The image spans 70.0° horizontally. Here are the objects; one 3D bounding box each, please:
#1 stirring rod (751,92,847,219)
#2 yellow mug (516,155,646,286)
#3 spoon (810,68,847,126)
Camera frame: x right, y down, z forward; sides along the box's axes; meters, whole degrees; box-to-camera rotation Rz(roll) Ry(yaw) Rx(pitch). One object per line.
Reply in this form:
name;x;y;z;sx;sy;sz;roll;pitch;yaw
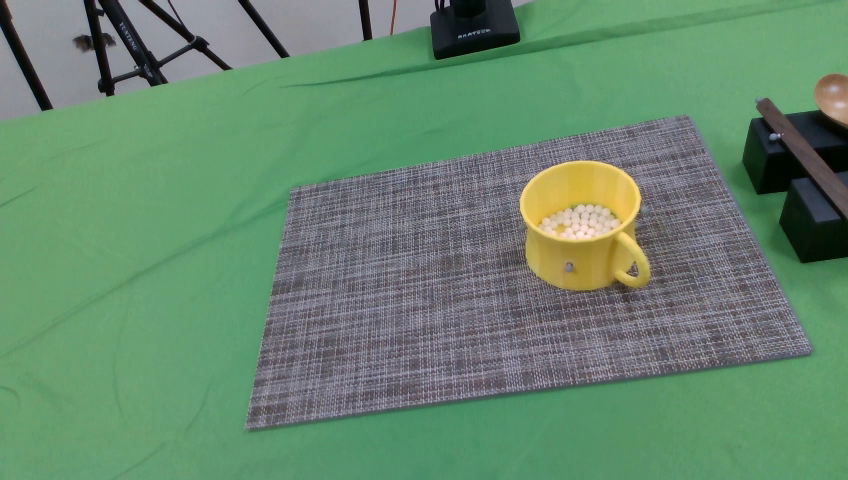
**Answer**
stirring rod;0.319;-0.071;0.505;0.014;0.006;0.174;-41;38;30
yellow mug;0.143;-0.010;0.527;0.100;0.064;0.129;-33;49;-14
spoon;0.369;-0.075;0.491;0.041;0.022;0.191;-8;49;6
